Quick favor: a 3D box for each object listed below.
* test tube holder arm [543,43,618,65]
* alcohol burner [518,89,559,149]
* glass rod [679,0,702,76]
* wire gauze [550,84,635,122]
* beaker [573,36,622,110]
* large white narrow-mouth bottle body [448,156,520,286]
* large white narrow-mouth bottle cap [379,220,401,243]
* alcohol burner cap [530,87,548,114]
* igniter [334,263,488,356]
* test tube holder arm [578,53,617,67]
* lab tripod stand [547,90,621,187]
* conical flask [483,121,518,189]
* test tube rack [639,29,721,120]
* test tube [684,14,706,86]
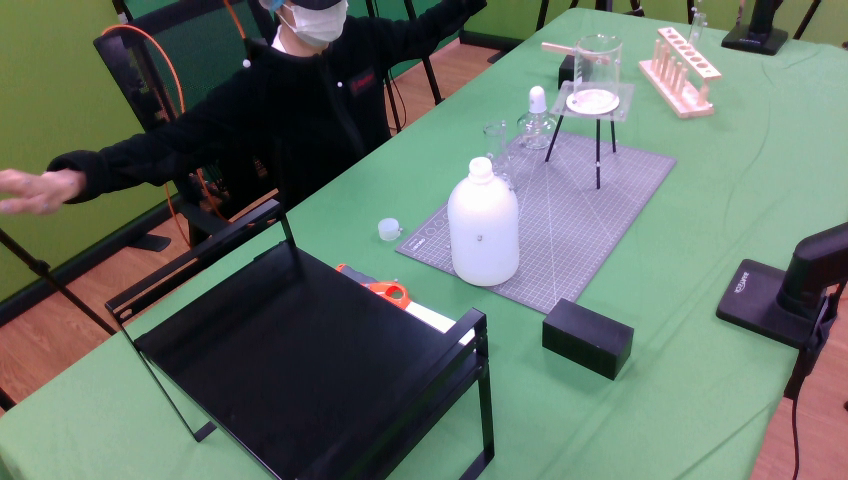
[{"bbox_3d":[0.345,-0.413,1.341,0.177,0.015,0.013,25,50,31],"label":"test tube holder arm"},{"bbox_3d":[0.218,-0.235,1.149,0.078,0.119,0.077,-5,43,5],"label":"alcohol burner"},{"bbox_3d":[0.543,-0.417,1.233,0.008,0.200,0.008,1,39,0],"label":"glass rod"},{"bbox_3d":[0.285,-0.234,1.021,0.124,0.011,0.121,8,41,23],"label":"wire gauze"},{"bbox_3d":[0.283,-0.273,0.990,0.073,0.101,0.084,16,46,28],"label":"beaker"},{"bbox_3d":[0.086,-0.032,0.869,0.102,0.195,0.101,-4,40,4],"label":"large white narrow-mouth bottle body"},{"bbox_3d":[-0.057,-0.015,1.011,0.038,0.024,0.037,-4,40,4],"label":"large white narrow-mouth bottle cap"},{"bbox_3d":[0.212,-0.262,1.126,0.034,0.048,0.033,-8,36,7],"label":"alcohol burner cap"},{"bbox_3d":[-0.030,0.095,0.872,0.274,0.025,0.057,23,59,31],"label":"igniter"},{"bbox_3d":[0.376,-0.393,1.314,0.087,0.015,0.010,26,51,32],"label":"test tube holder arm"},{"bbox_3d":[0.289,-0.184,1.062,0.148,0.132,0.147,-6,41,6],"label":"lab tripod stand"},{"bbox_3d":[0.126,-0.145,1.051,0.075,0.122,0.075,-5,41,4],"label":"conical flask"},{"bbox_3d":[0.527,-0.351,1.262,0.067,0.085,0.241,-8,40,1],"label":"test tube rack"},{"bbox_3d":[0.540,-0.378,1.215,0.017,0.151,0.017,-2,44,3],"label":"test tube"}]
